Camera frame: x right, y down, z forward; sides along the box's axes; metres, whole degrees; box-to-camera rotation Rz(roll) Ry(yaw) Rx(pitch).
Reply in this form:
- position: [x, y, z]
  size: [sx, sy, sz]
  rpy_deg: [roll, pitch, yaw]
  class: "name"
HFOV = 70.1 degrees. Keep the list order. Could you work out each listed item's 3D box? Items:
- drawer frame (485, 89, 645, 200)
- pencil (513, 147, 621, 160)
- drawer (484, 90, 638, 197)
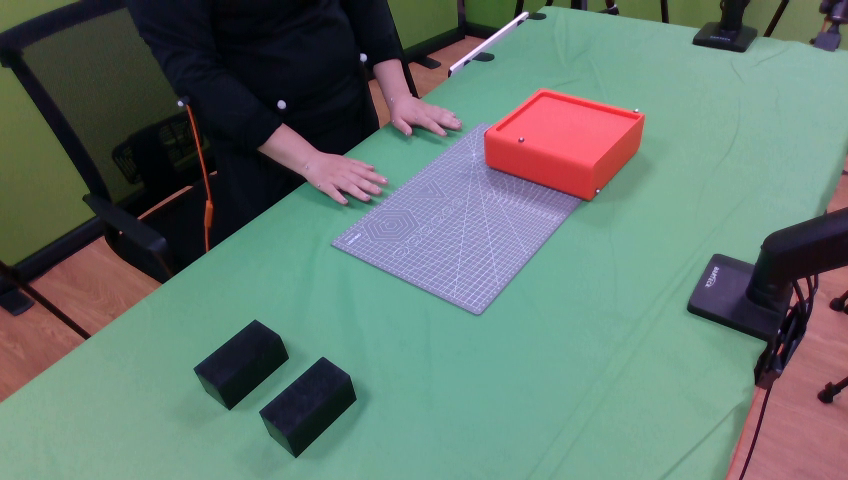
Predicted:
- position: [0.253, -0.180, 1.094]
  size: [0.212, 0.083, 0.202]
  rpy_deg: [24, 48, 31]
  class: "drawer frame"
- position: [0.259, -0.156, 1.101]
  size: [0.194, 0.012, 0.012]
  rpy_deg: [-4, 40, 3]
  class: "pencil"
- position: [0.247, -0.180, 1.097]
  size: [0.210, 0.073, 0.195]
  rpy_deg: [25, 49, 31]
  class: "drawer"
